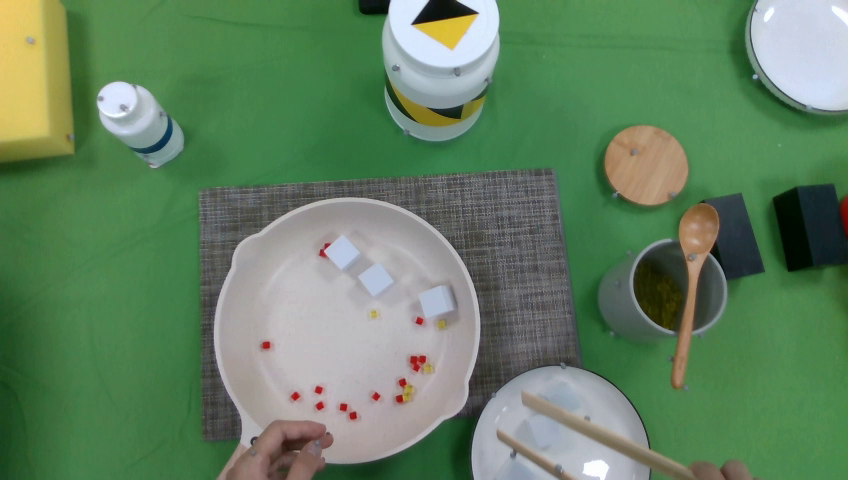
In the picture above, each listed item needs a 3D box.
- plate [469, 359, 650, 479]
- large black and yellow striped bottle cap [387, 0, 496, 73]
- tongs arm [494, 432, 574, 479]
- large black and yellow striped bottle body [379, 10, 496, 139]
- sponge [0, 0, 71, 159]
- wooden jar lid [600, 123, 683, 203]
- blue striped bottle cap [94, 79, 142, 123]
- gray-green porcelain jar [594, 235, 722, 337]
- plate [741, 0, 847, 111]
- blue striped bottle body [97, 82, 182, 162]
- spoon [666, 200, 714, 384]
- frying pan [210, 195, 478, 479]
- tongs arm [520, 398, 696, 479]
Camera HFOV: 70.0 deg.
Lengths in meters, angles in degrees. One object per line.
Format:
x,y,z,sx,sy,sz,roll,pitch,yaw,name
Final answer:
0.153,0.243,0.702,0.208,0.039,0.207,1,80,-3,plate
0.018,-0.230,0.629,0.115,0.019,0.114,1,80,-3,large black and yellow striped bottle cap
0.226,0.248,0.504,0.381,0.027,0.050,24,50,37,tongs arm
0.013,-0.211,0.711,0.131,0.184,0.130,1,78,-3,large black and yellow striped bottle body
-0.513,-0.207,0.741,0.118,0.061,0.206,-9,80,-6,sponge
0.281,-0.099,0.788,0.108,0.021,0.108,1,80,-3,wooden jar lid
-0.333,-0.152,0.658,0.044,0.020,0.044,1,80,-3,blue striped bottle cap
0.262,0.058,0.701,0.106,0.127,0.105,1,78,-3,gray-green porcelain jar
0.531,-0.269,0.826,0.209,0.038,0.208,1,79,-3,plate
-0.334,-0.140,0.708,0.063,0.121,0.063,1,78,-3,blue striped bottle body
0.271,0.054,0.631,0.042,0.021,0.193,12,82,-5,spoon
-0.147,0.174,0.662,0.306,0.103,0.486,36,71,5,frying pan
0.245,0.230,0.520,0.384,0.028,0.028,22,45,36,tongs arm
